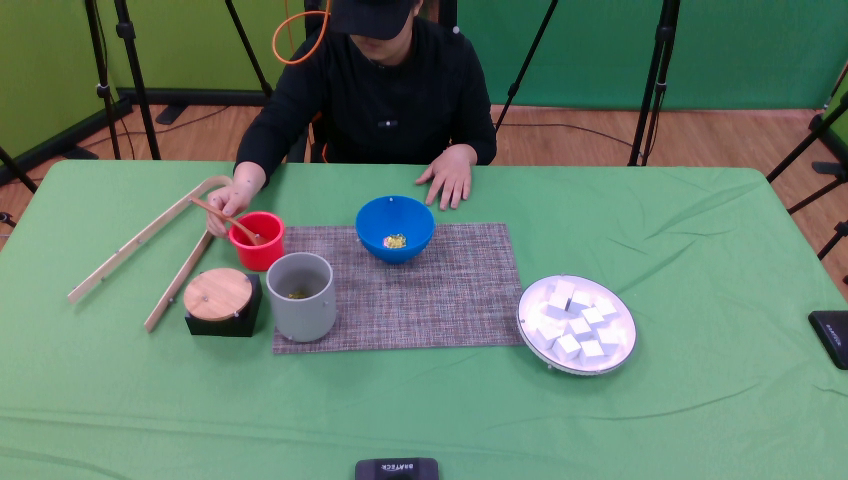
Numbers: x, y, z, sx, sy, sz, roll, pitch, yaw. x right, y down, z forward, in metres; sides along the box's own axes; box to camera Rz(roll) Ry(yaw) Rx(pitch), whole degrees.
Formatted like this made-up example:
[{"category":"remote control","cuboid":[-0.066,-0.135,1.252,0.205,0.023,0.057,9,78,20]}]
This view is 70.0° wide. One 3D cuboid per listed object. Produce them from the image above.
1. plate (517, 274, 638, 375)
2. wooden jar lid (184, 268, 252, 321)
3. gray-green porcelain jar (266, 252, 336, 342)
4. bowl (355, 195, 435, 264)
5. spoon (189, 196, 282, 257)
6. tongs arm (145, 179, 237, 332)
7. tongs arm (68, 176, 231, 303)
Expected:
[{"category":"plate","cuboid":[0.264,0.149,1.060,0.209,0.038,0.208,3,46,-3]},{"category":"wooden jar lid","cuboid":[-0.343,0.093,1.015,0.108,0.021,0.107,3,46,-3]},{"category":"gray-green porcelain jar","cuboid":[-0.202,0.100,1.009,0.106,0.127,0.105,2,46,-2]},{"category":"bowl","cuboid":[-0.056,-0.008,1.158,0.151,0.077,0.150,2,46,-2]},{"category":"spoon","cuboid":[-0.343,-0.026,1.113,0.195,0.021,0.041,40,33,-28]},{"category":"tongs arm","cuboid":[-0.432,0.014,1.149,0.028,0.028,0.385,8,46,7]},{"category":"tongs arm","cuboid":[-0.510,-0.010,1.161,0.050,0.026,0.383,20,47,14]}]
